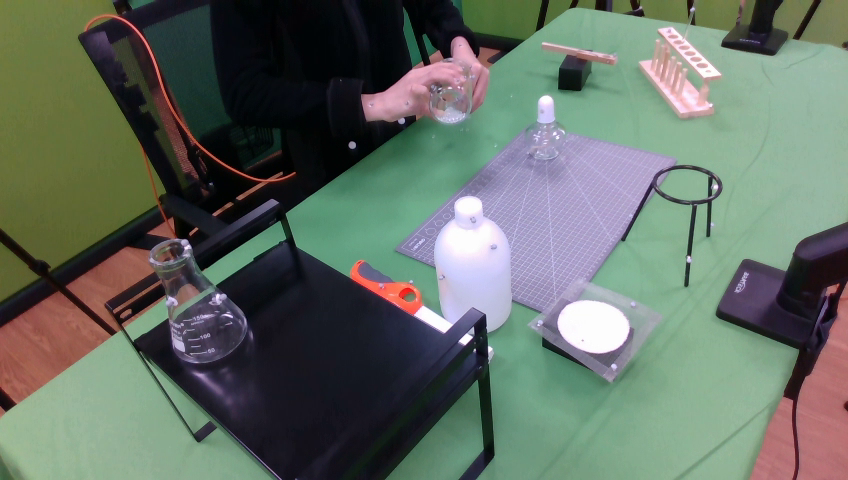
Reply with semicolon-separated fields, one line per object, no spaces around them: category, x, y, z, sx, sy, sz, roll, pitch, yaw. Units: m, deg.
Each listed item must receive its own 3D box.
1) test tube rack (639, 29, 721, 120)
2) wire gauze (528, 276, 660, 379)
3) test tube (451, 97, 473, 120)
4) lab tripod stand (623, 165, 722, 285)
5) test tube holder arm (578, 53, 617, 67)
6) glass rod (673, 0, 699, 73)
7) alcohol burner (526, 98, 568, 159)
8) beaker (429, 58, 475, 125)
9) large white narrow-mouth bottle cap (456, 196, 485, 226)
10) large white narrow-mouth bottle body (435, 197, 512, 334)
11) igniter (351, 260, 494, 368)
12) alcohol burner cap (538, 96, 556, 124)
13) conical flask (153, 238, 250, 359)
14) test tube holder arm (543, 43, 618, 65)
test tube rack;0.527;-0.351;1.262;0.067;0.085;0.241;-8;40;1
wire gauze;0.214;0.103;0.763;0.124;0.011;0.122;30;52;35
test tube;0.072;-0.242;1.118;0.017;0.017;0.151;4;2;14
lab tripod stand;0.365;-0.030;0.874;0.148;0.132;0.147;-6;41;6
test tube holder arm;0.376;-0.393;1.314;0.087;0.015;0.010;26;51;32
glass rod;0.538;-0.425;1.245;0.008;0.200;0.008;0;47;0
alcohol burner;0.228;-0.210;1.118;0.078;0.119;0.077;-5;43;5
beaker;0.046;-0.238;0.988;0.074;0.084;0.100;-2;39;7
large white narrow-mouth bottle cap;0.057;-0.036;0.749;0.038;0.024;0.037;-4;40;4
large white narrow-mouth bottle body;0.066;0.028;0.805;0.102;0.195;0.101;-4;40;4
igniter;-0.013;0.098;0.864;0.274;0.025;0.057;30;65;36
alcohol burner cap;0.222;-0.237;1.095;0.034;0.048;0.033;-7;35;5
conical flask;-0.225;0.055;0.597;0.075;0.122;0.075;-5;41;4
test tube holder arm;0.344;-0.413;1.340;0.177;0.015;0.013;25;50;31
